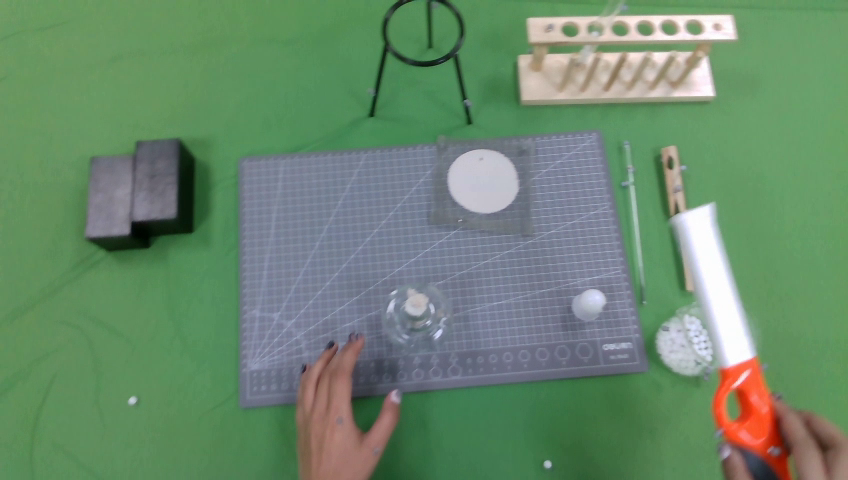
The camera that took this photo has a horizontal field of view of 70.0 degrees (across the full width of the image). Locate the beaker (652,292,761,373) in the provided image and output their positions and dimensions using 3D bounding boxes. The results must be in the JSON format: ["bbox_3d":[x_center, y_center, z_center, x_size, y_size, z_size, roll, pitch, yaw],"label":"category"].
[{"bbox_3d":[0.288,0.099,0.638,0.084,0.101,0.074,26,74,9],"label":"beaker"}]

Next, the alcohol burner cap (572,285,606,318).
[{"bbox_3d":[0.186,0.066,0.673,0.034,0.048,0.033,0,73,0],"label":"alcohol burner cap"}]

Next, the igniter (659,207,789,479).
[{"bbox_3d":[0.249,0.109,0.494,0.057,0.025,0.276,-17,89,-10],"label":"igniter"}]

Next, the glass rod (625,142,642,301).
[{"bbox_3d":[0.250,-0.025,0.721,0.008,0.008,0.198,1,75,0],"label":"glass rod"}]

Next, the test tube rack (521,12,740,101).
[{"bbox_3d":[0.247,-0.222,0.741,0.242,0.085,0.066,-1,73,-1],"label":"test tube rack"}]

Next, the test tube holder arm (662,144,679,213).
[{"bbox_3d":[0.300,-0.073,0.733,0.010,0.015,0.087,-12,71,31],"label":"test tube holder arm"}]

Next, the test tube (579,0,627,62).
[{"bbox_3d":[0.209,-0.250,0.697,0.017,0.151,0.017,2,74,-5],"label":"test tube"}]

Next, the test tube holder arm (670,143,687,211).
[{"bbox_3d":[0.306,-0.031,0.718,0.013,0.015,0.177,-12,71,31],"label":"test tube holder arm"}]

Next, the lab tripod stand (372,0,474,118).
[{"bbox_3d":[0.001,-0.211,0.710,0.148,0.132,0.147,0,75,0],"label":"lab tripod stand"}]

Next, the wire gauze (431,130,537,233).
[{"bbox_3d":[0.074,-0.074,0.733,0.125,0.011,0.121,7,74,1],"label":"wire gauze"}]

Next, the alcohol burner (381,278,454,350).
[{"bbox_3d":[-0.008,0.073,0.632,0.078,0.120,0.077,0,72,2],"label":"alcohol burner"}]
